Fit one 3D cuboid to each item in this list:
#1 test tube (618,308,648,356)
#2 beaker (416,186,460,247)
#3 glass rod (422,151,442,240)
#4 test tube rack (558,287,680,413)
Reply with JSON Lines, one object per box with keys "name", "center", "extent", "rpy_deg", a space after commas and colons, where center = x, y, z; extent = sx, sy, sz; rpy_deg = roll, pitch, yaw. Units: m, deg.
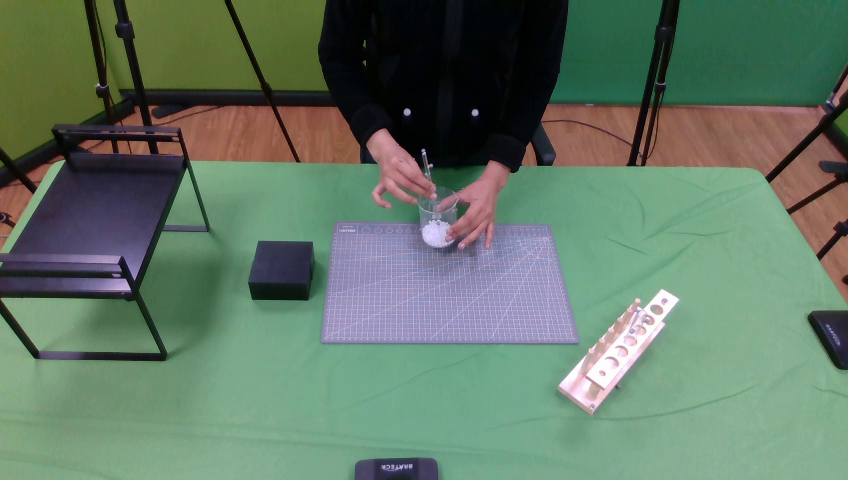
{"name": "test tube", "center": [0.327, 0.155, 0.955], "extent": [0.017, 0.151, 0.017], "rpy_deg": [-1, 50, 1]}
{"name": "beaker", "center": [0.030, -0.042, 1.145], "extent": [0.084, 0.101, 0.073], "rpy_deg": [-16, 47, -11]}
{"name": "glass rod", "center": [0.016, -0.076, 1.092], "extent": [0.008, 0.201, 0.008], "rpy_deg": [-8, 40, 7]}
{"name": "test tube rack", "center": [0.327, 0.170, 1.009], "extent": [0.066, 0.085, 0.242], "rpy_deg": [36, 54, 26]}
